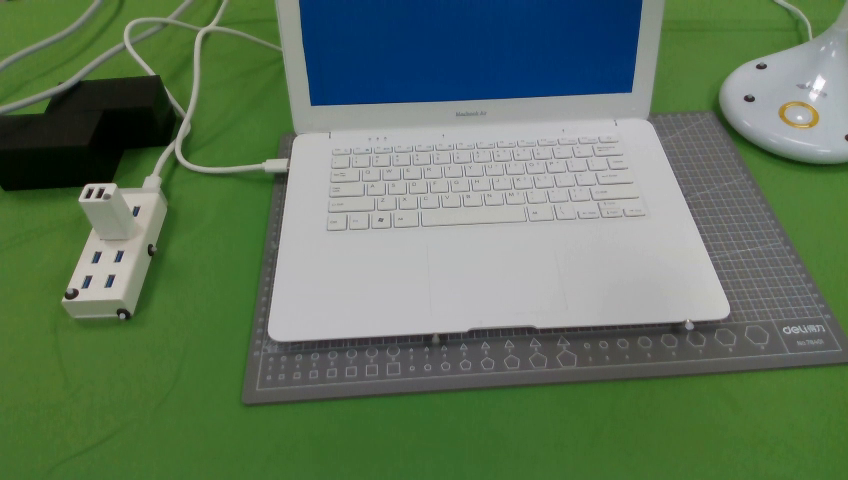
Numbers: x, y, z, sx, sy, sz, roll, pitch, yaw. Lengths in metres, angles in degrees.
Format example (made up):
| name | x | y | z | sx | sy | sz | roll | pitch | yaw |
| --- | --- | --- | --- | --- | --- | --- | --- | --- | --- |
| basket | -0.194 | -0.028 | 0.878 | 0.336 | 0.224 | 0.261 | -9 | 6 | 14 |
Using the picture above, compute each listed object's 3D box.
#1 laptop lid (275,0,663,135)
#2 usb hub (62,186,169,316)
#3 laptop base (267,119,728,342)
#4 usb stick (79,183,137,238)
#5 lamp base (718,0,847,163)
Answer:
| name | x | y | z | sx | sy | sz | roll | pitch | yaw |
| --- | --- | --- | --- | --- | --- | --- | --- | --- | --- |
| laptop lid | 0.043 | -0.211 | 0.550 | 0.357 | 0.243 | 0.013 | -4 | 28 | -1 |
| usb hub | -0.256 | 0.006 | 0.510 | 0.049 | 0.025 | 0.124 | -2 | 49 | 0 |
| laptop base | 0.053 | -0.018 | 0.531 | 0.354 | 0.023 | 0.233 | -3 | 53 | -2 |
| usb stick | -0.253 | -0.018 | 0.493 | 0.027 | 0.060 | 0.021 | -4 | 49 | 0 |
| lamp base | 0.389 | -0.194 | 0.570 | 0.160 | 0.182 | 0.178 | 21 | 51 | 18 |
